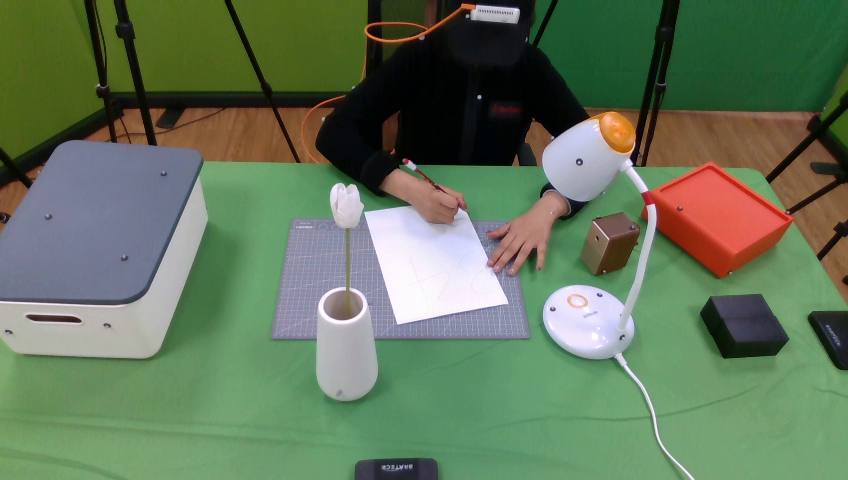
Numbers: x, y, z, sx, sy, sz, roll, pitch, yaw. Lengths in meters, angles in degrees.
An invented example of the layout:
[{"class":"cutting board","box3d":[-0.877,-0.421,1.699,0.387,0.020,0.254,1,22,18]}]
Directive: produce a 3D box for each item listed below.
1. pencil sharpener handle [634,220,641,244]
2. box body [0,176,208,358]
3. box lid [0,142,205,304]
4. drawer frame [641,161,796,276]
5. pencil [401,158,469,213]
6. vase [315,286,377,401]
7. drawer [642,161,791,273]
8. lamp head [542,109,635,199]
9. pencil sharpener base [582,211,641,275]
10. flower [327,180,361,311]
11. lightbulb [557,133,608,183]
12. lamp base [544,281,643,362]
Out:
[{"class":"pencil sharpener handle","box3d":[0.405,-0.015,1.162,0.031,0.068,0.035,-15,46,-17]},{"class":"box body","box3d":[-0.546,0.017,1.045,0.254,0.161,0.361,2,46,-2]},{"class":"box lid","box3d":[-0.534,-0.044,0.995,0.263,0.015,0.369,3,45,-3]},{"class":"drawer frame","box3d":[0.599,-0.051,1.244,0.202,0.083,0.212,-24,53,-25]},{"class":"pencil","box3d":[0.025,-0.105,1.203,0.195,0.012,0.012,36,36,-31]},{"class":"vase","box3d":[-0.119,0.159,0.911,0.098,0.201,0.097,2,47,-2]},{"class":"drawer","box3d":[0.596,-0.051,1.246,0.194,0.073,0.210,-23,52,-25]},{"class":"lamp head","box3d":[0.253,-0.131,0.893,0.113,0.123,0.112,10,66,-24]},{"class":"pencil sharpener base","box3d":[0.357,0.005,1.156,0.077,0.107,0.061,-15,48,-17]},{"class":"flower","box3d":[-0.110,0.086,0.867,0.044,0.363,0.038,22,33,36]},{"class":"lightbulb","box3d":[0.243,-0.127,0.917,0.059,0.108,0.059,6,67,-14]},{"class":"lamp base","box3d":[0.303,0.095,1.014,0.161,0.181,0.178,-24,54,-24]}]
